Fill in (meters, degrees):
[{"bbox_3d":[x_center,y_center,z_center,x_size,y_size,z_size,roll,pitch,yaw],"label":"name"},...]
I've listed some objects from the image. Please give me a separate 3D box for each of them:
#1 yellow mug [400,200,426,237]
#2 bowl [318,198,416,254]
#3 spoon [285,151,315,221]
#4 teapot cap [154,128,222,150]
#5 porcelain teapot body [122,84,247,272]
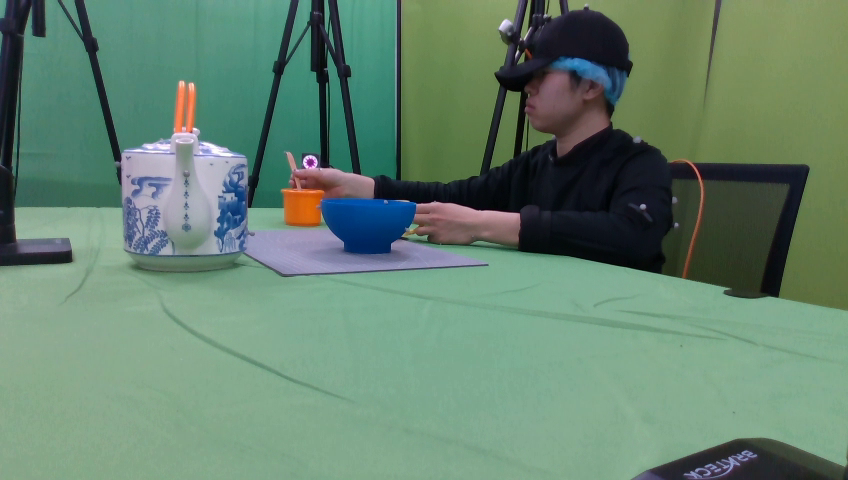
[{"bbox_3d":[-0.062,-0.042,1.132,0.131,0.064,0.100,0,6,-3],"label":"yellow mug"},{"bbox_3d":[-0.089,-0.022,0.941,0.151,0.077,0.151,2,7,0],"label":"bowl"},{"bbox_3d":[-0.274,-0.120,1.318,0.042,0.193,0.021,-2,-29,-33],"label":"spoon"},{"bbox_3d":[-0.294,-0.117,0.754,0.085,0.044,0.085,5,9,0],"label":"teapot cap"},{"bbox_3d":[-0.286,-0.075,0.733,0.146,0.225,0.204,0,8,-24],"label":"porcelain teapot body"}]
